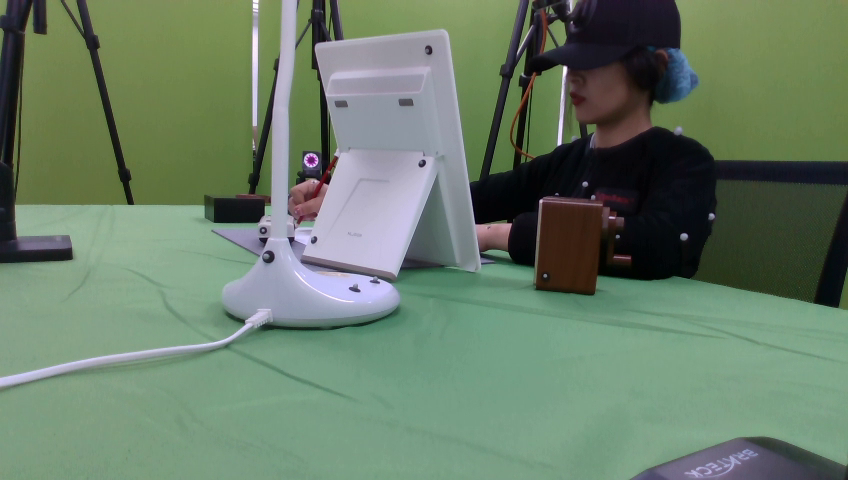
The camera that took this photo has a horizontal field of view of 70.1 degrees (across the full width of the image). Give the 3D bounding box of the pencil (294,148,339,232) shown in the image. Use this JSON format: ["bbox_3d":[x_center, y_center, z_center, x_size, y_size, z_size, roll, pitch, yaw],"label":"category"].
[{"bbox_3d":[-0.193,-0.097,1.108,0.012,0.194,0.012,25,-13,7],"label":"pencil"}]

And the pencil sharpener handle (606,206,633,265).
[{"bbox_3d":[0.223,-0.004,0.683,0.030,0.068,0.036,5,21,17],"label":"pencil sharpener handle"}]

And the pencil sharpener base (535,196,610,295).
[{"bbox_3d":[0.172,0.005,0.695,0.076,0.107,0.061,5,7,16],"label":"pencil sharpener base"}]

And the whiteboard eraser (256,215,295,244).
[{"bbox_3d":[-0.232,-0.016,0.951,0.056,0.042,0.112,2,7,-12],"label":"whiteboard eraser"}]

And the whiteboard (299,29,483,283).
[{"bbox_3d":[-0.074,-0.082,0.742,0.216,0.305,0.144,9,30,38],"label":"whiteboard"}]

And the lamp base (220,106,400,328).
[{"bbox_3d":[-0.101,-0.023,0.531,0.160,0.180,0.179,4,10,10],"label":"lamp base"}]

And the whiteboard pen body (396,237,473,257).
[{"bbox_3d":[0.014,0.012,0.886,0.140,0.017,0.017,10,11,38],"label":"whiteboard pen body"}]

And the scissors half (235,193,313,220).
[{"bbox_3d":[-0.325,-0.077,1.319,0.176,0.040,0.012,17,6,-32],"label":"scissors half"}]

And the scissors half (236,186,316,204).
[{"bbox_3d":[-0.320,-0.097,1.316,0.176,0.040,0.013,-3,11,-29],"label":"scissors half"}]

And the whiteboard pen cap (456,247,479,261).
[{"bbox_3d":[0.060,0.020,0.851,0.033,0.018,0.018,10,10,37],"label":"whiteboard pen cap"}]
